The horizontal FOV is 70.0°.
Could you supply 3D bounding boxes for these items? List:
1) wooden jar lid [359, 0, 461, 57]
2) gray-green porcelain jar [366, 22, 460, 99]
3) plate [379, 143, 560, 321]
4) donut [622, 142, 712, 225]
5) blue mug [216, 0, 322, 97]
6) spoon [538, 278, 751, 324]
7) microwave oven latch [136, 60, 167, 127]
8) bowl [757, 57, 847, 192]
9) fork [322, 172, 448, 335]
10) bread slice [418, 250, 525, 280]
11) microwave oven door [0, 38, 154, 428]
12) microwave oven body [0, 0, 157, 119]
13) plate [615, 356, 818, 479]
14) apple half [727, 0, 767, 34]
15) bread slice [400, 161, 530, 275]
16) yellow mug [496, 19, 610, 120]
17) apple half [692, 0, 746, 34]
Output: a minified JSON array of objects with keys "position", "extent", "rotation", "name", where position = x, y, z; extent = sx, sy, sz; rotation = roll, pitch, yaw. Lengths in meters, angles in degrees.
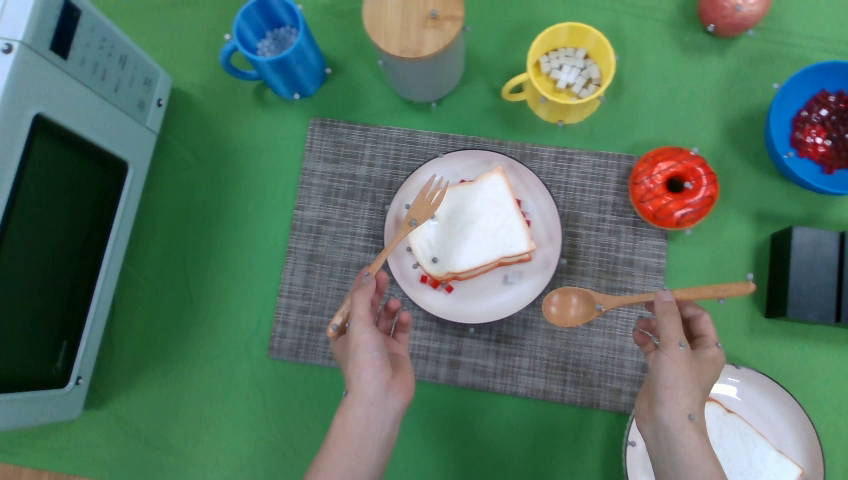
[{"position":[-0.015,-0.243,0.648],"extent":[0.108,0.021,0.108],"rotation":[-1,79,4],"name":"wooden jar lid"},{"position":[-0.010,-0.232,0.710],"extent":[0.106,0.127,0.105],"rotation":[-1,80,4],"name":"gray-green porcelain jar"},{"position":[0.052,-0.009,0.710],"extent":[0.207,0.039,0.207],"rotation":[-1,81,4],"name":"plate"},{"position":[0.279,-0.065,0.700],"extent":[0.099,0.048,0.098],"rotation":[-1,81,4],"name":"donut"},{"position":[-0.191,-0.228,0.731],"extent":[0.116,0.106,0.082],"rotation":[-18,79,1],"name":"blue mug"},{"position":[0.204,0.054,0.578],"extent":[0.193,0.022,0.041],"rotation":[-10,74,31],"name":"spoon"},{"position":[-0.344,-0.183,0.750],"extent":[0.030,0.029,0.079],"rotation":[14,83,6],"name":"microwave oven latch"},{"position":[0.444,-0.119,0.684],"extent":[0.151,0.077,0.151],"rotation":[-1,81,4],"name":"bowl"},{"position":[-0.038,0.010,0.610],"extent":[0.028,0.019,0.206],"rotation":[31,67,14],"name":"fork"},{"position":[0.043,-0.009,0.713],"extent":[0.131,0.019,0.104],"rotation":[-19,81,-1],"name":"bread slice"},{"position":[-0.398,0.012,0.619],"extent":[0.039,0.245,0.354],"rotation":[11,81,6],"name":"microwave oven door"},{"position":[-0.531,-0.056,0.644],"extent":[0.326,0.261,0.440],"rotation":[11,82,5],"name":"microwave oven body"},{"position":[0.310,0.231,0.657],"extent":[0.209,0.038,0.208],"rotation":[-1,80,4],"name":"plate"},{"position":[0.374,-0.292,0.720],"extent":[0.053,0.075,0.080],"rotation":[-24,76,-5],"name":"apple half"},{"position":[0.042,-0.016,0.687],"extent":[0.134,0.018,0.106],"rotation":[-22,77,-3],"name":"bread slice"},{"position":[0.149,-0.197,0.724],"extent":[0.131,0.064,0.099],"rotation":[-16,80,2],"name":"yellow mug"},{"position":[0.339,-0.275,0.717],"extent":[0.033,0.081,0.081],"rotation":[-25,79,-5],"name":"apple half"}]
